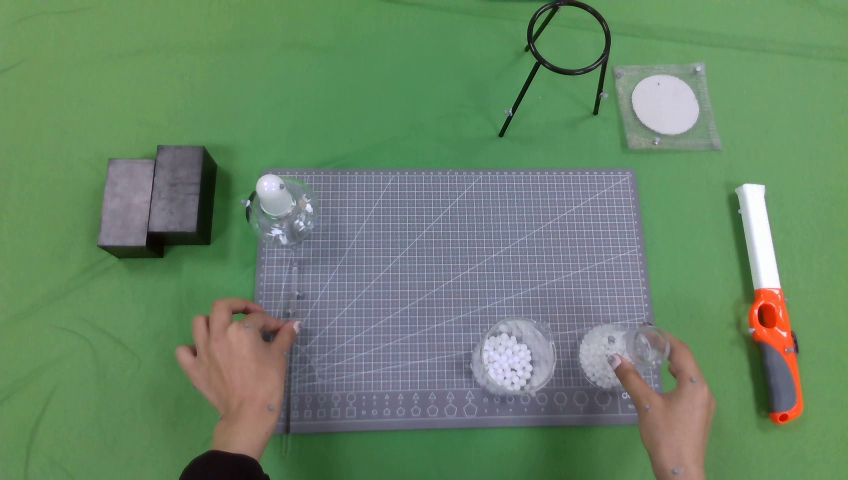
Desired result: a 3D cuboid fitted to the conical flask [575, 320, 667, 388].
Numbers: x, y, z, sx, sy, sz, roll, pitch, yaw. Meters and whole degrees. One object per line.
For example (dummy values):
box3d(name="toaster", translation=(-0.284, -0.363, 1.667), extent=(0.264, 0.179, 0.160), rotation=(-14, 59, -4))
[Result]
box3d(name="conical flask", translation=(0.207, 0.111, 0.622), extent=(0.075, 0.122, 0.075), rotation=(1, 74, -2))

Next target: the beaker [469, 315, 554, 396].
box3d(name="beaker", translation=(0.088, 0.120, 0.625), extent=(0.084, 0.100, 0.073), rotation=(-42, 80, -14))

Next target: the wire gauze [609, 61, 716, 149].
box3d(name="wire gauze", translation=(0.303, -0.172, 0.768), extent=(0.125, 0.011, 0.121), rotation=(-2, 75, -6))

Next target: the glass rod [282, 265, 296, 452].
box3d(name="glass rod", translation=(-0.145, 0.125, 0.656), extent=(0.008, 0.008, 0.198), rotation=(0, 77, -3))

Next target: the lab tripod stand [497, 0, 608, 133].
box3d(name="lab tripod stand", translation=(0.146, -0.197, 0.701), extent=(0.148, 0.132, 0.147), rotation=(1, 76, -3))

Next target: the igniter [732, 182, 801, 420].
box3d(name="igniter", translation=(0.393, 0.064, 0.698), extent=(0.057, 0.025, 0.275), rotation=(3, 74, -14))

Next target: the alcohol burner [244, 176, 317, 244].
box3d(name="alcohol burner", translation=(-0.156, -0.038, 0.646), extent=(0.078, 0.119, 0.077), rotation=(0, 75, -1))

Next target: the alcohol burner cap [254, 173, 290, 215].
box3d(name="alcohol burner cap", translation=(-0.155, -0.049, 0.612), extent=(0.034, 0.048, 0.033), rotation=(2, 67, -4))
